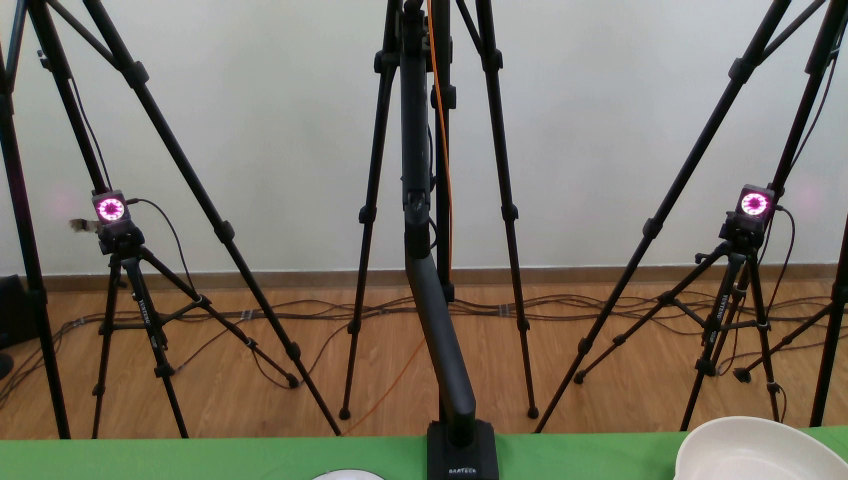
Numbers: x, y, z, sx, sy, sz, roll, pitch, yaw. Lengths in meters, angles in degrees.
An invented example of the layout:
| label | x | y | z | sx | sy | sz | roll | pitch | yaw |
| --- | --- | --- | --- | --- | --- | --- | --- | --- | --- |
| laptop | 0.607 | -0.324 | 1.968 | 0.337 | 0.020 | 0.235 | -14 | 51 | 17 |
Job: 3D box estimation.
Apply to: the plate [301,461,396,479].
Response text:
| label | x | y | z | sx | sy | sz | roll | pitch | yaw |
| --- | --- | --- | --- | --- | --- | --- | --- | --- | --- |
| plate | -0.123 | 0.439 | 0.927 | 0.208 | 0.039 | 0.205 | 0 | 36 | 1 |

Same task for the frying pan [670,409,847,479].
| label | x | y | z | sx | sy | sz | roll | pitch | yaw |
| --- | --- | --- | --- | --- | --- | --- | --- | --- | --- |
| frying pan | 0.522 | 0.446 | 0.847 | 0.306 | 0.103 | 0.484 | 2 | 28 | 5 |
